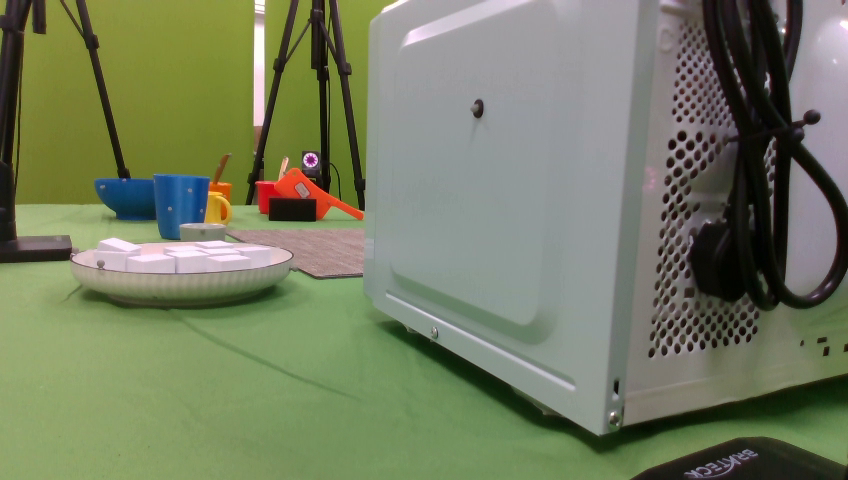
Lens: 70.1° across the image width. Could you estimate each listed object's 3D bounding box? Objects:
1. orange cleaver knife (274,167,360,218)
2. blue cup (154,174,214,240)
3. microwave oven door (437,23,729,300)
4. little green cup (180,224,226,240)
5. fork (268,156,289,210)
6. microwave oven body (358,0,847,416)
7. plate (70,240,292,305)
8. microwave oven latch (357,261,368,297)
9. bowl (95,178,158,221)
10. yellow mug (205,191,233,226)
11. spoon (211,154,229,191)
[{"bbox_3d":[-0.238,-0.091,1.381,0.212,0.077,0.012,31,0,-19],"label":"orange cleaver knife"},{"bbox_3d":[-0.390,-0.053,0.978,0.093,0.100,0.092,3,6,0],"label":"blue cup"},{"bbox_3d":[0.181,-0.072,0.621,0.358,0.243,0.039,-2,9,-29],"label":"microwave oven door"},{"bbox_3d":[-0.308,-0.001,0.846,0.061,0.038,0.061,2,8,0],"label":"little green cup"},{"bbox_3d":[-0.360,-0.144,1.508,0.028,0.018,0.207,1,49,0],"label":"fork"},{"bbox_3d":[0.211,-0.047,0.474,0.444,0.260,0.324,-1,7,-28],"label":"microwave oven body"},{"bbox_3d":[-0.242,0.031,0.618,0.208,0.039,0.207,2,8,0],"label":"plate"},{"bbox_3d":[-0.019,0.033,0.530,0.079,0.029,0.030,-1,7,-27],"label":"microwave oven latch"},{"bbox_3d":[-0.576,-0.081,1.217,0.151,0.077,0.151,3,8,0],"label":"bowl"},{"bbox_3d":[-0.415,-0.057,1.132,0.130,0.064,0.100,6,8,16],"label":"yellow mug"},{"bbox_3d":[-0.431,-0.115,1.253,0.042,0.193,0.021,-3,54,-33],"label":"spoon"}]
